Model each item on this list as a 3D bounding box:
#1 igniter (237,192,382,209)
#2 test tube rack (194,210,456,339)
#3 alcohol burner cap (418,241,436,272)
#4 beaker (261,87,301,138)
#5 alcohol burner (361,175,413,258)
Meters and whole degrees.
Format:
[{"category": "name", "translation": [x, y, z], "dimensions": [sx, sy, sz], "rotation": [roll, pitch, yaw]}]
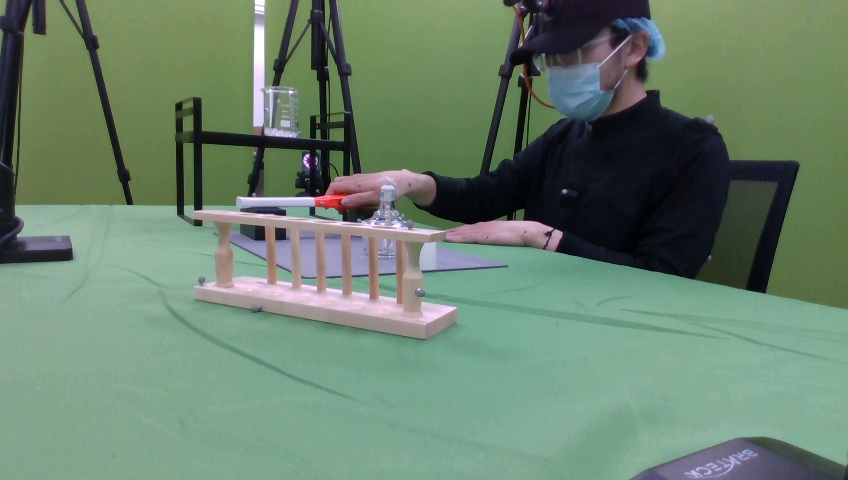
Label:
[{"category": "igniter", "translation": [-0.191, -0.070, 1.073], "dimensions": [0.278, 0.025, 0.057], "rotation": [-5, 12, -35]}, {"category": "test tube rack", "translation": [-0.093, 0.023, 0.545], "dimensions": [0.241, 0.085, 0.067], "rotation": [6, 8, 25]}, {"category": "alcohol burner cap", "translation": [0.001, 0.015, 0.787], "dimensions": [0.034, 0.048, 0.034], "rotation": [4, 7, 0]}, {"category": "beaker", "translation": [-0.298, -0.263, 1.255], "dimensions": [0.084, 0.100, 0.073], "rotation": [-5, 10, -40]}, {"category": "alcohol burner", "translation": [-0.054, -0.033, 0.870], "dimensions": [0.078, 0.119, 0.078], "rotation": [1, 9, 0]}]
